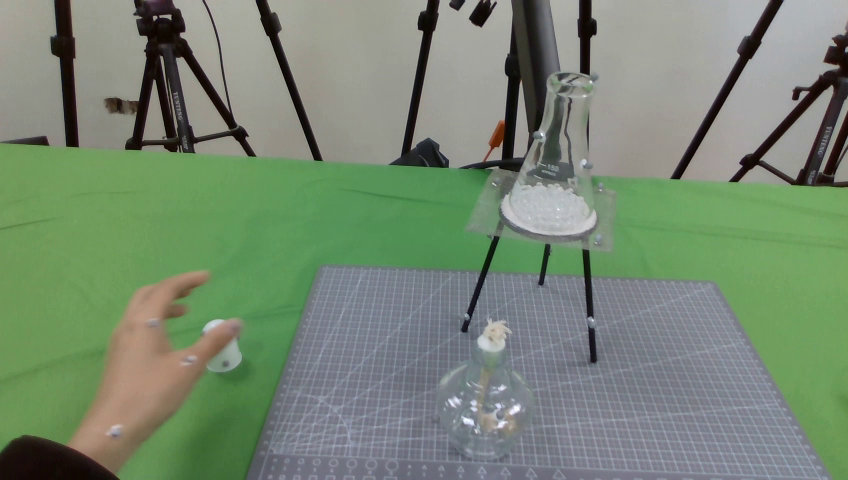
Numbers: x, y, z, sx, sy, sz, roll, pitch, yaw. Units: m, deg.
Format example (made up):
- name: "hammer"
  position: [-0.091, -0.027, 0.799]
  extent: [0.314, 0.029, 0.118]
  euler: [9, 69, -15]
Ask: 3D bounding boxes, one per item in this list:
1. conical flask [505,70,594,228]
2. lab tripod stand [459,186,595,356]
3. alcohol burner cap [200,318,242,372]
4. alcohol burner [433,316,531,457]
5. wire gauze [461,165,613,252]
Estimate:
- name: "conical flask"
  position: [0.111, -0.077, 0.508]
  extent: [0.075, 0.123, 0.074]
  euler: [2, 34, -1]
- name: "lab tripod stand"
  position: [0.111, 0.027, 0.579]
  extent: [0.148, 0.132, 0.147]
  euler: [3, 33, -2]
- name: "alcohol burner cap"
  position: [-0.187, 0.093, 0.551]
  extent: [0.034, 0.048, 0.033]
  euler: [1, 33, 0]
- name: "alcohol burner"
  position: [0.046, 0.109, 0.467]
  extent: [0.078, 0.120, 0.077]
  euler: [1, 31, 0]
- name: "wire gauze"
  position: [0.106, -0.029, 0.544]
  extent: [0.121, 0.011, 0.124]
  euler: [10, 36, 13]
